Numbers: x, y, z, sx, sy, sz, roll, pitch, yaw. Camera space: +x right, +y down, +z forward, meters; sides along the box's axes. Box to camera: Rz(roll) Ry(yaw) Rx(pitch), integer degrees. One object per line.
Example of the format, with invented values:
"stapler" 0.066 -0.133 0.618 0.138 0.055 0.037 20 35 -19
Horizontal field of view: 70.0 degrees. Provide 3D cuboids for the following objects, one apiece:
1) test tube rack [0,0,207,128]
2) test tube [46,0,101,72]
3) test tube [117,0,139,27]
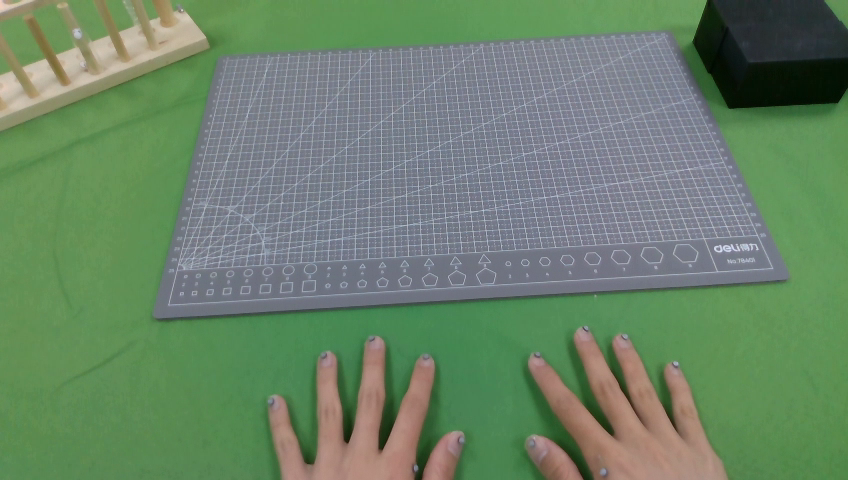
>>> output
"test tube rack" -0.338 -0.185 0.556 0.242 0.086 0.066 -30 58 -19
"test tube" -0.316 -0.208 0.517 0.017 0.152 0.017 -1 53 1
"test tube" -0.292 -0.258 0.546 0.017 0.151 0.017 -2 56 4
